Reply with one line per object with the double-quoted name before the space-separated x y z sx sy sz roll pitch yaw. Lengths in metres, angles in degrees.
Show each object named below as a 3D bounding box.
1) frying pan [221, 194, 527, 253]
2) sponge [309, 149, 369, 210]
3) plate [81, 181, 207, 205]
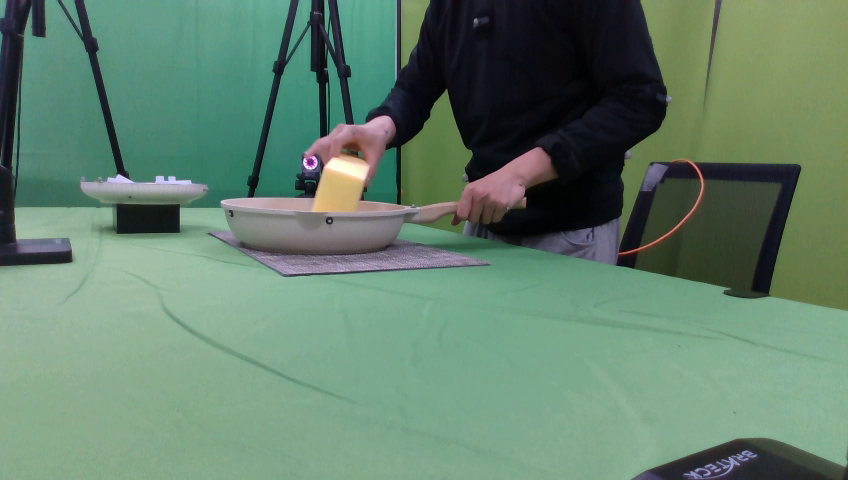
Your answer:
"frying pan" -0.070 -0.043 0.984 0.489 0.102 0.306 -7 9 -5
"sponge" -0.139 -0.069 0.966 0.061 0.118 0.206 17 15 -7
"plate" -0.505 -0.086 1.100 0.208 0.039 0.207 1 6 0
